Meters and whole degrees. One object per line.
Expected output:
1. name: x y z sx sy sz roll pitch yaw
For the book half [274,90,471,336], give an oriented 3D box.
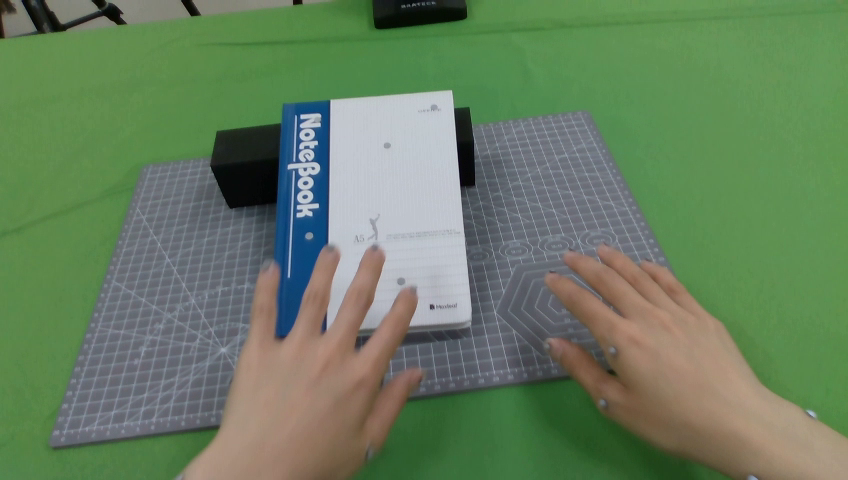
1. book half: -0.042 -0.029 0.476 0.143 0.007 0.208 -4 64 2
